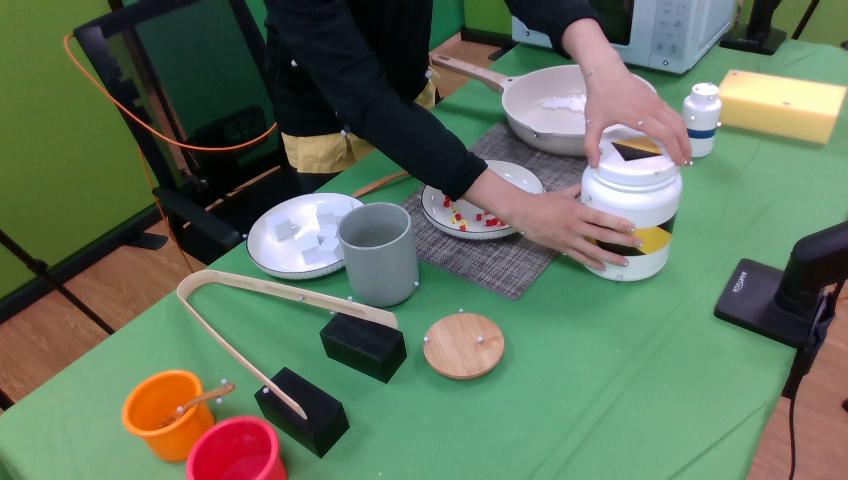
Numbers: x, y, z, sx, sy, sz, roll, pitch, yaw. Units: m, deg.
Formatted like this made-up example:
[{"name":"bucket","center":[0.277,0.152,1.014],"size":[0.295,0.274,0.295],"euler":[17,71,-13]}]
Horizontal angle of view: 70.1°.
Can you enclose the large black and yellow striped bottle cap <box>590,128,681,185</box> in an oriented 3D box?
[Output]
[{"name":"large black and yellow striped bottle cap","center":[0.280,-0.113,0.802],"size":[0.115,0.019,0.114],"euler":[-4,41,4]}]

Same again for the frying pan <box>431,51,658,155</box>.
[{"name":"frying pan","center":[0.216,-0.302,1.223],"size":[0.484,0.103,0.308],"euler":[29,50,24]}]

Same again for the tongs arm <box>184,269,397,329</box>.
[{"name":"tongs arm","center":[-0.202,0.085,0.847],"size":[0.382,0.027,0.051],"euler":[11,45,35]}]

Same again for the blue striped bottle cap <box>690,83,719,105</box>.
[{"name":"blue striped bottle cap","center":[0.482,-0.251,1.038],"size":[0.044,0.021,0.044],"euler":[-5,39,5]}]

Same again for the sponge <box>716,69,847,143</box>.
[{"name":"sponge","center":[0.663,-0.256,1.142],"size":[0.205,0.061,0.118],"euler":[19,47,28]}]

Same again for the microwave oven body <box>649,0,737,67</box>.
[{"name":"microwave oven body","center":[0.475,-0.602,1.411],"size":[0.438,0.261,0.327],"euler":[23,50,32]}]

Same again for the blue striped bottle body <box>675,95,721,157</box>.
[{"name":"blue striped bottle body","center":[0.486,-0.213,1.072],"size":[0.063,0.121,0.063],"euler":[-4,41,4]}]

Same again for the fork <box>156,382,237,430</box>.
[{"name":"fork","center":[-0.262,0.189,0.690],"size":[0.018,0.206,0.028],"euler":[49,43,-7]}]

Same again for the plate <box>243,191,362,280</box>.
[{"name":"plate","center":[-0.187,-0.004,0.992],"size":[0.207,0.039,0.206],"euler":[-3,40,3]}]

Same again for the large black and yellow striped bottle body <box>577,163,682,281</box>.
[{"name":"large black and yellow striped bottle body","center":[0.290,-0.047,0.860],"size":[0.131,0.185,0.130],"euler":[-4,41,4]}]

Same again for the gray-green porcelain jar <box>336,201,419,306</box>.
[{"name":"gray-green porcelain jar","center":[-0.064,0.024,0.872],"size":[0.106,0.127,0.105],"euler":[-4,41,4]}]

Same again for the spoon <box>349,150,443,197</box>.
[{"name":"spoon","center":[-0.051,-0.122,1.120],"size":[0.194,0.022,0.041],"euler":[-22,64,-18]}]

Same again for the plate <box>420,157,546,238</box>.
[{"name":"plate","center":[0.100,-0.068,1.017],"size":[0.209,0.038,0.208],"euler":[-4,41,4]}]

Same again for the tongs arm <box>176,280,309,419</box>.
[{"name":"tongs arm","center":[-0.254,0.133,0.801],"size":[0.028,0.028,0.384],"euler":[-41,40,-23]}]

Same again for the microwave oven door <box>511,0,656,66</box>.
[{"name":"microwave oven door","center":[0.351,-0.539,1.348],"size":[0.353,0.245,0.039],"euler":[24,50,31]}]

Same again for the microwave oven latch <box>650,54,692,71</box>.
[{"name":"microwave oven latch","center":[0.530,-0.386,1.301],"size":[0.078,0.029,0.030],"euler":[24,50,32]}]

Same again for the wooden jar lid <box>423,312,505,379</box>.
[{"name":"wooden jar lid","center":[0.053,0.142,0.800],"size":[0.108,0.021,0.108],"euler":[-4,39,4]}]
